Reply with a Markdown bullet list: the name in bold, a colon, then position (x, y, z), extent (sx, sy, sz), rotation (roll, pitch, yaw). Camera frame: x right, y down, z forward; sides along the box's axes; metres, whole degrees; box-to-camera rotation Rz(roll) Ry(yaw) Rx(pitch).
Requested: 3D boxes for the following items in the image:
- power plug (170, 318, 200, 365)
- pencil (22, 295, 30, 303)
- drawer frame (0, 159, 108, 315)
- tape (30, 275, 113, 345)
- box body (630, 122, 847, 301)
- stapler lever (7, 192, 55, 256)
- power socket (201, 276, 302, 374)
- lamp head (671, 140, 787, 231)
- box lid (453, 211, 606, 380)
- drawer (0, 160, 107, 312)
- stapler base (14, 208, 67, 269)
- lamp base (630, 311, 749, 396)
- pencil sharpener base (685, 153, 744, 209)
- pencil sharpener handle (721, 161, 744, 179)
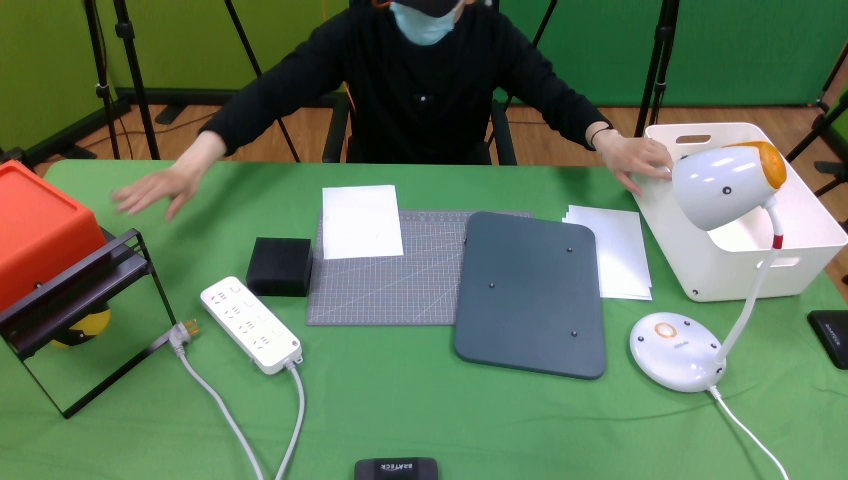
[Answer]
- **power plug**: position (-0.392, 0.167, 1.014), extent (0.052, 0.035, 0.072), rotation (-30, 90, -23)
- **pencil**: position (-0.591, 0.010, 0.883), extent (0.012, 0.012, 0.193), rotation (-17, 61, -19)
- **drawer frame**: position (-0.611, 0.000, 0.863), extent (0.201, 0.083, 0.213), rotation (27, 51, 20)
- **tape**: position (-0.593, 0.117, 1.021), extent (0.117, 0.053, 0.116), rotation (3, 46, -2)
- **box body**: position (0.594, -0.062, 1.202), extent (0.254, 0.161, 0.361), rotation (-4, 47, -7)
- **stapler lever**: position (-0.575, -0.026, 0.885), extent (0.027, 0.040, 0.117), rotation (-31, 56, -25)
- **power socket**: position (-0.297, 0.141, 1.034), extent (0.072, 0.033, 0.225), rotation (-34, 58, -30)
- **lamp head**: position (0.415, -0.078, 0.811), extent (0.113, 0.123, 0.112), rotation (12, 70, -37)
- **box lid**: position (0.200, 0.085, 1.138), extent (0.263, 0.015, 0.369), rotation (8, 47, 3)
- **drawer**: position (-0.610, -0.001, 0.866), extent (0.194, 0.073, 0.211), rotation (29, 52, 21)
- **stapler base**: position (-0.577, -0.010, 0.903), extent (0.041, 0.024, 0.130), rotation (-30, 57, -25)
- **lamp base**: position (0.447, 0.143, 0.983), extent (0.161, 0.181, 0.178), rotation (-24, 55, -24)
- **pencil sharpener base**: position (0.620, -0.125, 1.293), extent (0.077, 0.107, 0.061), rotation (-8, 47, -12)
- **pencil sharpener handle**: position (0.668, -0.148, 1.299), extent (0.031, 0.068, 0.036), rotation (-8, 78, -12)
